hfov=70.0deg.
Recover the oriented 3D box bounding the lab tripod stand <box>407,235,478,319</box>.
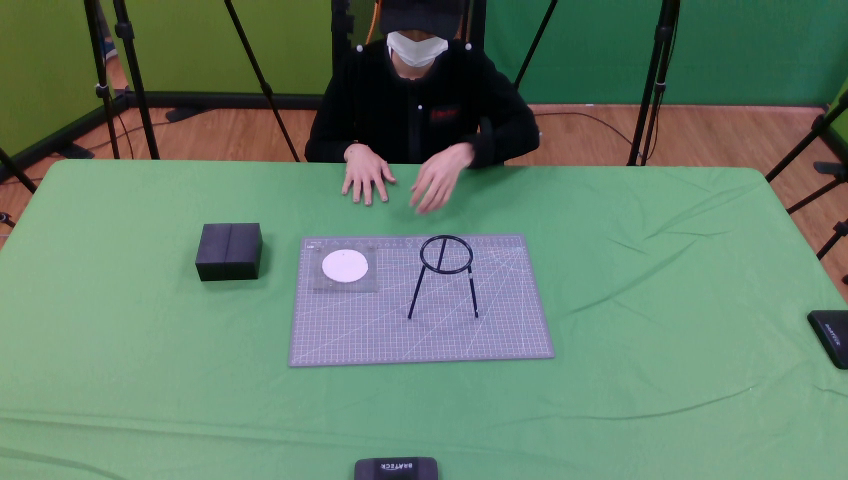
[{"bbox_3d":[0.032,0.065,1.057,0.148,0.132,0.147,1,45,-1],"label":"lab tripod stand"}]

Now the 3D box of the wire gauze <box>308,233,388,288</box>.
[{"bbox_3d":[-0.144,0.033,1.140,0.121,0.011,0.124,-16,43,-16],"label":"wire gauze"}]
